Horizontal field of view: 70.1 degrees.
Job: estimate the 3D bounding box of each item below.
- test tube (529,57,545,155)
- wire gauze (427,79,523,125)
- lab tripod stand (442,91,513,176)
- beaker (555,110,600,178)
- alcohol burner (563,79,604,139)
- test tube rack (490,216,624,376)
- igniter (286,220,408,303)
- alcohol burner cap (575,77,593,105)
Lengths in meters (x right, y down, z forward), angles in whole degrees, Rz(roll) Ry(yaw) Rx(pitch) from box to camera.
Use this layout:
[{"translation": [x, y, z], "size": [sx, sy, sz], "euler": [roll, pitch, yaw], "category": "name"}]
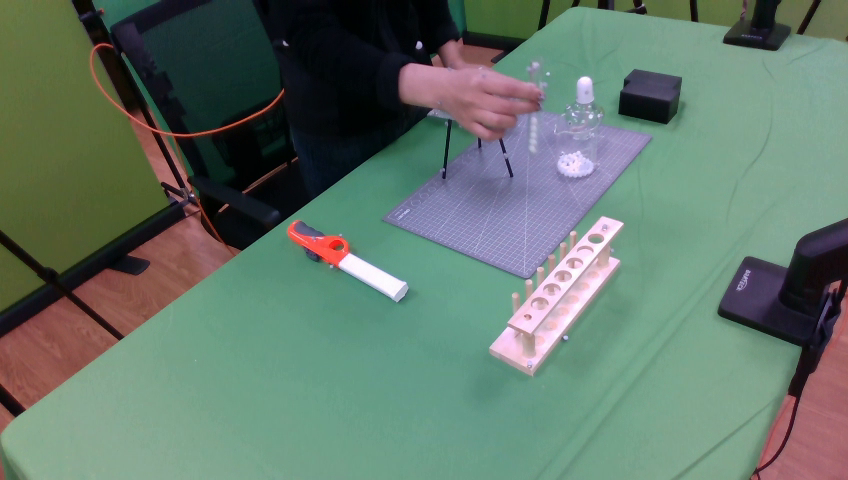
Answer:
[{"translation": [0.148, -0.171, 0.794], "size": [0.017, 0.151, 0.017], "euler": [-4, 49, 5], "category": "test tube"}, {"translation": [0.088, -0.239, 1.050], "size": [0.120, 0.011, 0.125], "euler": [22, 49, 30], "category": "wire gauze"}, {"translation": [0.096, -0.190, 1.096], "size": [0.148, 0.132, 0.147], "euler": [-4, 39, 4], "category": "lab tripod stand"}, {"translation": [0.266, -0.165, 1.061], "size": [0.084, 0.101, 0.073], "euler": [-24, 42, -16], "category": "beaker"}, {"translation": [0.304, -0.253, 1.147], "size": [0.078, 0.119, 0.077], "euler": [-4, 41, 4], "category": "alcohol burner"}, {"translation": [0.184, 0.064, 0.822], "size": [0.066, 0.085, 0.243], "euler": [24, 50, 33], "category": "test tube rack"}, {"translation": [-0.133, 0.028, 0.968], "size": [0.274, 0.025, 0.057], "euler": [27, 61, 35], "category": "igniter"}, {"translation": [0.297, -0.279, 1.123], "size": [0.034, 0.048, 0.033], "euler": [-8, 41, 8], "category": "alcohol burner cap"}]
